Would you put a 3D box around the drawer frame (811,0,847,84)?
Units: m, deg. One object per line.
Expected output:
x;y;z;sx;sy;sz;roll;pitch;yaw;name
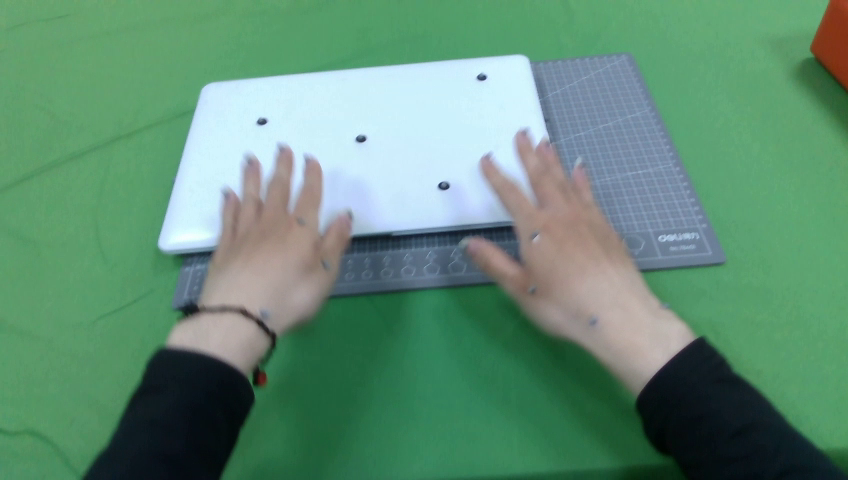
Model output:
0.512;-0.162;0.549;0.202;0.083;0.211;-9;50;-1;drawer frame

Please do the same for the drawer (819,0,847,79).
0.513;-0.160;0.549;0.194;0.074;0.209;-9;50;0;drawer

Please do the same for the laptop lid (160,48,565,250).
-0.059;-0.098;0.581;0.356;0.013;0.239;-4;53;3;laptop lid

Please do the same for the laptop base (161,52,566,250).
-0.058;-0.093;0.592;0.354;0.023;0.233;-5;54;2;laptop base
